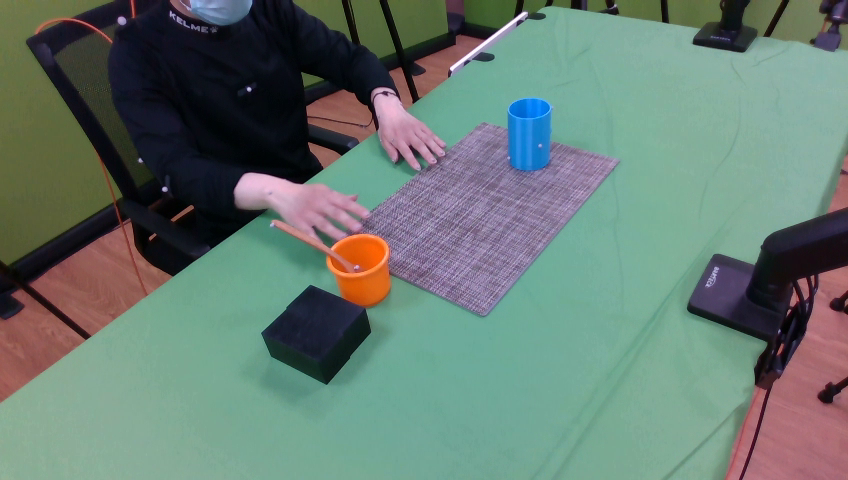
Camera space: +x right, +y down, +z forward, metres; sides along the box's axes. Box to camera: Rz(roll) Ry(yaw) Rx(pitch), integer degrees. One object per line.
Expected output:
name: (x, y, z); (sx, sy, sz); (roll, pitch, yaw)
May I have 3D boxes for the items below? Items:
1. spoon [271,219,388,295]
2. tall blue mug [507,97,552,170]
spoon: (-0.133, 0.022, 0.865); (0.021, 0.195, 0.041); (-36, 27, 39)
tall blue mug: (0.179, -0.198, 1.101); (0.078, 0.108, 0.106); (-36, 49, -28)
